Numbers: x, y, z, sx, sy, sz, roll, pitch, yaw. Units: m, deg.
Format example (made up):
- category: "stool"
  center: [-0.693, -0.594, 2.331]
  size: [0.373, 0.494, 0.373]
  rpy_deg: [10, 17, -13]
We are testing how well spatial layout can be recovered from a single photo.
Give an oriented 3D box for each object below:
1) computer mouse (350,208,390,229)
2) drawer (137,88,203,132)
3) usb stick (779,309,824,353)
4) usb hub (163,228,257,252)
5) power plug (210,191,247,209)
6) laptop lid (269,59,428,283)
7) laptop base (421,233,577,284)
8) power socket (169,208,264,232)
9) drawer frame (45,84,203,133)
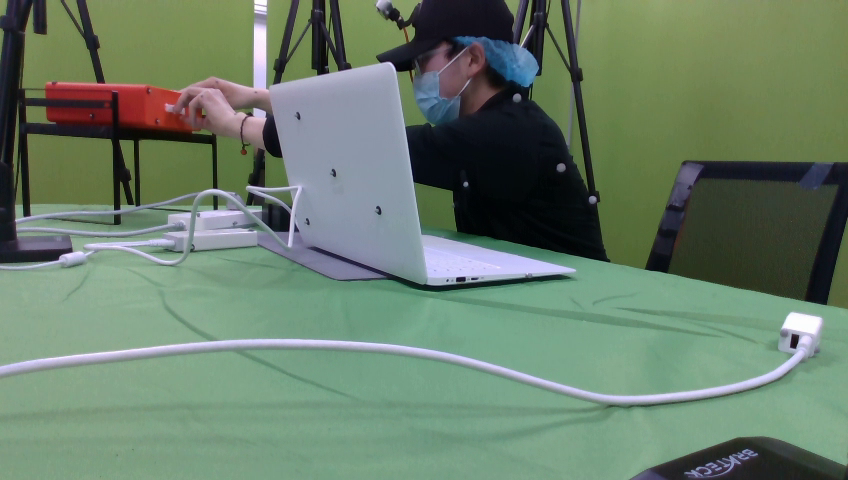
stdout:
- category: "computer mouse"
  center: [-0.111, -0.044, 1.231]
  size: [0.063, 0.041, 0.117]
  rpy_deg: [-3, 3, -18]
- category: "drawer"
  center: [-0.592, -0.263, 1.226]
  size: [0.211, 0.073, 0.195]
  rpy_deg: [3, 8, 10]
- category: "usb stick"
  center: [0.311, 0.072, 0.496]
  size: [0.027, 0.021, 0.059]
  rpy_deg: [8, 15, 34]
- category: "usb hub"
  center: [-0.314, 0.000, 0.895]
  size: [0.049, 0.025, 0.126]
  rpy_deg: [10, 11, 41]
- category: "power plug"
  center: [-0.386, -0.071, 1.204]
  size: [0.072, 0.052, 0.035]
  rpy_deg: [8, 10, 26]
- category: "laptop lid"
  center: [-0.111, -0.087, 0.752]
  size: [0.013, 0.241, 0.355]
  rpy_deg: [-18, 19, -30]
- category: "laptop base"
  center: [0.007, 0.021, 0.850]
  size: [0.237, 0.023, 0.352]
  rpy_deg: [1, 7, -34]
- category: "power socket"
  center: [-0.380, -0.038, 1.127]
  size: [0.072, 0.032, 0.227]
  rpy_deg: [4, 8, 17]
- category: "drawer frame"
  center: [-0.595, -0.264, 1.225]
  size: [0.213, 0.082, 0.202]
  rpy_deg: [3, 8, 8]
